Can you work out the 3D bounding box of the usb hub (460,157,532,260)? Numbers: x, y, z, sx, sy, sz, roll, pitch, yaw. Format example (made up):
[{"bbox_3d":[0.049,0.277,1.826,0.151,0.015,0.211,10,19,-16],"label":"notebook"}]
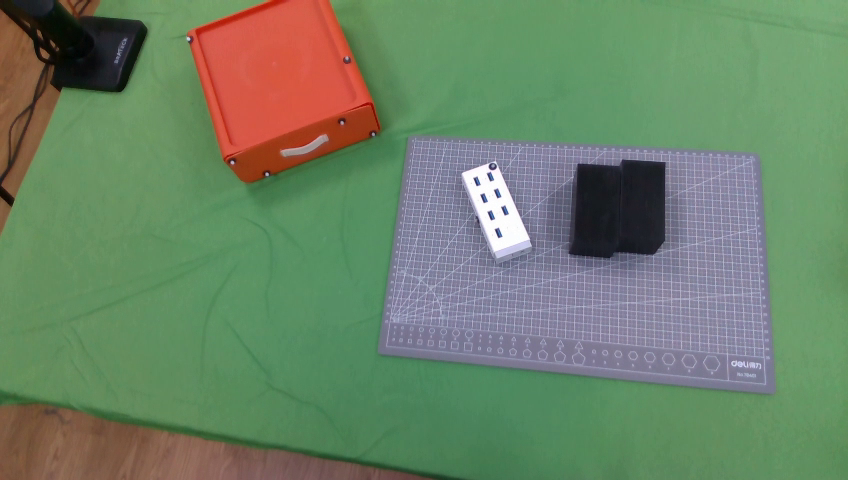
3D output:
[{"bbox_3d":[0.090,-0.041,0.759,0.049,0.025,0.124,-20,70,-3],"label":"usb hub"}]

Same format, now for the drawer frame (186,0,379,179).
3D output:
[{"bbox_3d":[-0.192,-0.216,0.819,0.202,0.083,0.212,-23,69,-2],"label":"drawer frame"}]

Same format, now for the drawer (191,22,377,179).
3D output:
[{"bbox_3d":[-0.190,-0.212,0.820,0.194,0.074,0.210,-22,69,-2],"label":"drawer"}]
